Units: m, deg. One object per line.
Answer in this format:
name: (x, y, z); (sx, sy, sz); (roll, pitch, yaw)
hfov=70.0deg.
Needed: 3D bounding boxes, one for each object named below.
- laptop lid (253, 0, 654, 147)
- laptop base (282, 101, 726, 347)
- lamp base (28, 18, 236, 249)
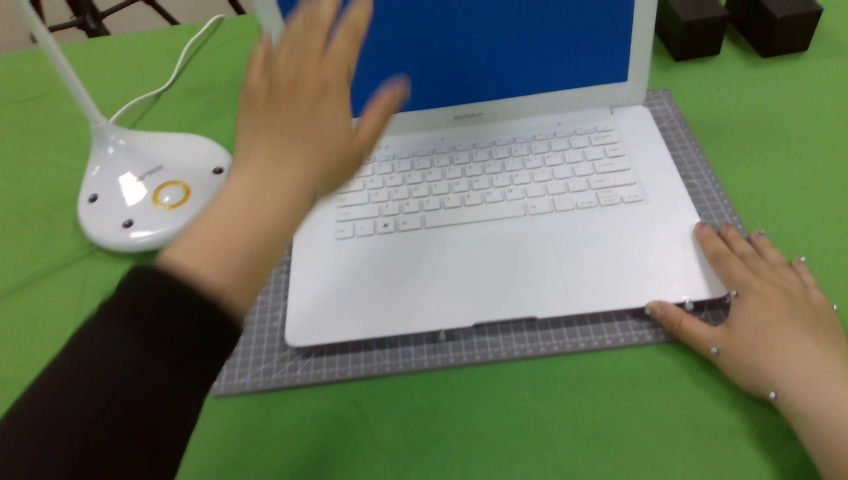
laptop lid: (0.031, -0.202, 0.544); (0.356, 0.244, 0.013); (-9, 42, 3)
laptop base: (0.054, -0.023, 0.548); (0.354, 0.023, 0.233); (-7, 53, 2)
lamp base: (-0.290, -0.108, 0.563); (0.178, 0.182, 0.160); (24, 57, 28)
